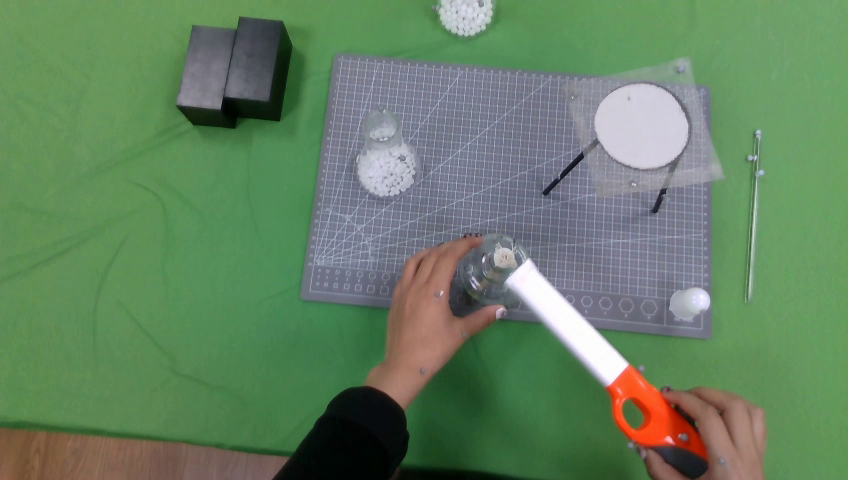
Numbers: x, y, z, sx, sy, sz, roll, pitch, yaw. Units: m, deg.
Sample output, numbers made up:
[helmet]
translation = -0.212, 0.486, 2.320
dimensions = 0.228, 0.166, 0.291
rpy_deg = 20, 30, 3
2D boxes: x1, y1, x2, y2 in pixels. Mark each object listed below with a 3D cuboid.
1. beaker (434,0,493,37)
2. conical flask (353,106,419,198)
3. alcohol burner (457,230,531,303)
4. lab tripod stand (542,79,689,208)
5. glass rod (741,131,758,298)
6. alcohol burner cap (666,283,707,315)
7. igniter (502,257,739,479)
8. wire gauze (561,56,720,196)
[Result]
[beaker]
translation = 0.049, -0.291, 0.698
dimensions = 0.084, 0.100, 0.073
rpy_deg = -35, 80, -8
[conical flask]
translation = -0.043, -0.097, 0.639
dimensions = 0.075, 0.122, 0.075
rpy_deg = 0, 77, 0
[alcohol burner]
translation = 0.074, 0.024, 0.618
dimensions = 0.078, 0.119, 0.077
rpy_deg = 0, 77, -1
[lab tripod stand]
translation = 0.203, -0.094, 0.634
dimensions = 0.148, 0.132, 0.147
rpy_deg = 0, 79, 1
[glass rod]
translation = 0.370, -0.032, 0.688
dimensions = 0.008, 0.008, 0.199
rpy_deg = 10, 77, 2
[alcohol burner cap]
translation = 0.283, 0.062, 0.646
dimensions = 0.034, 0.048, 0.033
rpy_deg = 0, 78, -1
[igniter]
translation = 0.175, 0.125, 0.537
dimensions = 0.057, 0.025, 0.276
rpy_deg = -42, 85, -13
[wire gauze]
translation = 0.203, -0.107, 0.568
dimensions = 0.125, 0.011, 0.121
rpy_deg = -11, 78, -2
